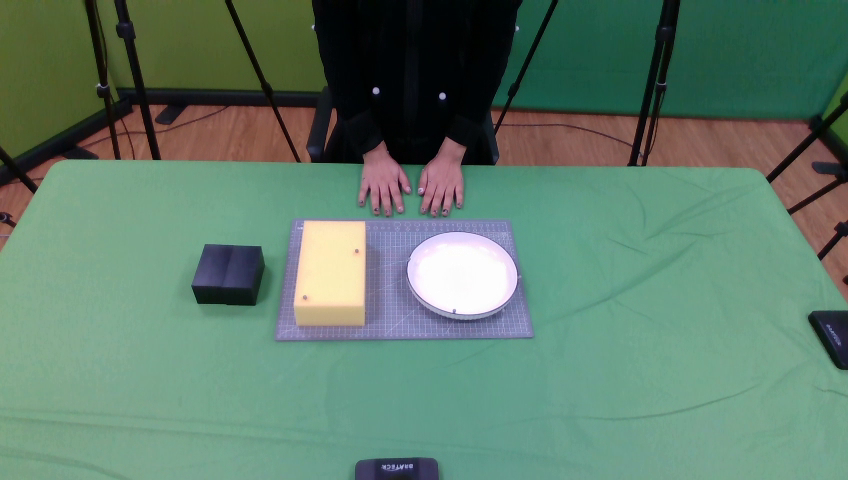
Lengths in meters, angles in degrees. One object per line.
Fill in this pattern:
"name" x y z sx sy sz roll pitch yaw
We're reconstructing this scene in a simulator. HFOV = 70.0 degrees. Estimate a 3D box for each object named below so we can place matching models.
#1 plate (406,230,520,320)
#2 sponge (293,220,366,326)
"plate" 0.070 0.067 1.122 0.209 0.038 0.208 2 46 -2
"sponge" -0.167 0.056 1.102 0.118 0.061 0.205 -1 47 -4
